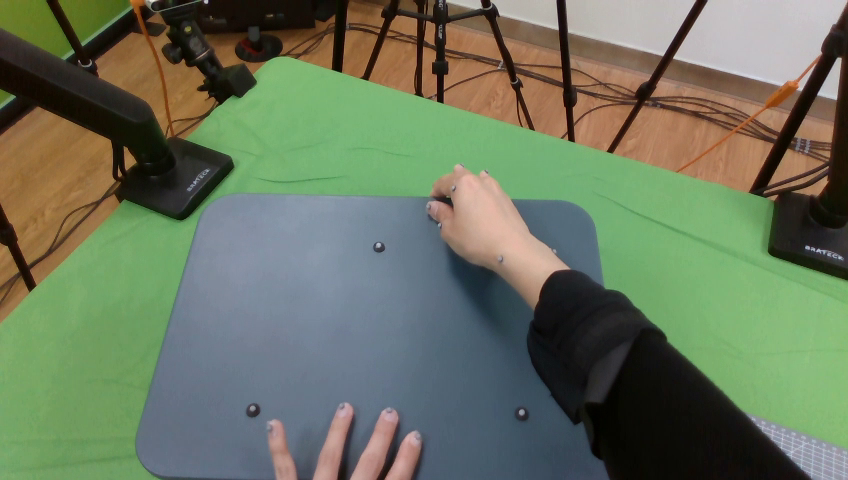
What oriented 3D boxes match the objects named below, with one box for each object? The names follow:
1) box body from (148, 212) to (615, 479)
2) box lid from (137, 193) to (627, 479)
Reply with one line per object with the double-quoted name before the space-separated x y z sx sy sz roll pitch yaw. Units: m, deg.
"box body" -0.025 0.125 0.587 0.364 0.162 0.252 2 52 3
"box lid" -0.026 0.070 0.509 0.371 0.015 0.261 1 57 0
